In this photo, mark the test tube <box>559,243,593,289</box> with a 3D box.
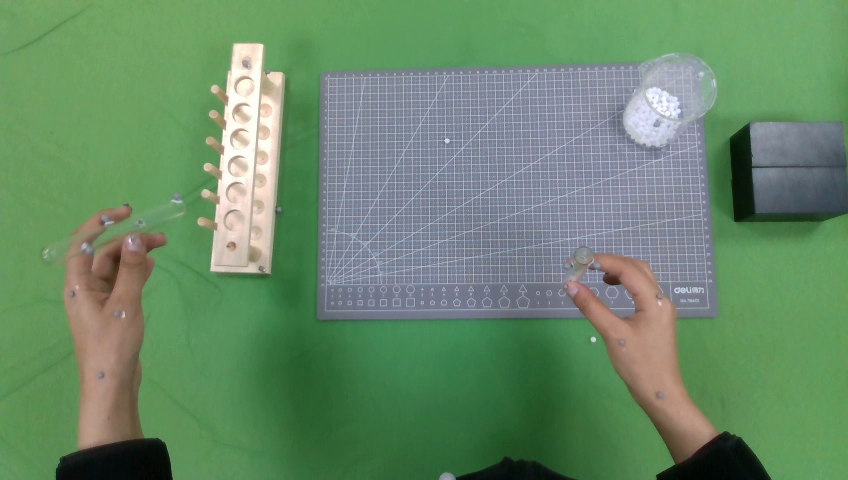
[{"bbox_3d":[0.132,0.025,0.536,0.017,0.151,0.017,-2,77,8],"label":"test tube"}]

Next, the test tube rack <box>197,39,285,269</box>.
[{"bbox_3d":[-0.209,-0.093,0.681,0.067,0.085,0.241,2,82,3],"label":"test tube rack"}]

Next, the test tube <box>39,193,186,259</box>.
[{"bbox_3d":[-0.249,-0.014,0.497,0.017,0.150,0.017,6,109,16],"label":"test tube"}]

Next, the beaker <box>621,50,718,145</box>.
[{"bbox_3d":[0.258,-0.152,0.659,0.084,0.100,0.074,37,85,8],"label":"beaker"}]
